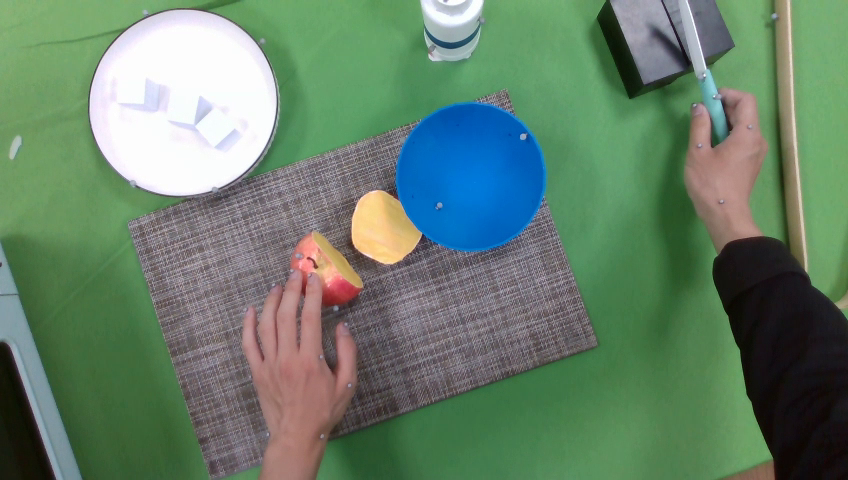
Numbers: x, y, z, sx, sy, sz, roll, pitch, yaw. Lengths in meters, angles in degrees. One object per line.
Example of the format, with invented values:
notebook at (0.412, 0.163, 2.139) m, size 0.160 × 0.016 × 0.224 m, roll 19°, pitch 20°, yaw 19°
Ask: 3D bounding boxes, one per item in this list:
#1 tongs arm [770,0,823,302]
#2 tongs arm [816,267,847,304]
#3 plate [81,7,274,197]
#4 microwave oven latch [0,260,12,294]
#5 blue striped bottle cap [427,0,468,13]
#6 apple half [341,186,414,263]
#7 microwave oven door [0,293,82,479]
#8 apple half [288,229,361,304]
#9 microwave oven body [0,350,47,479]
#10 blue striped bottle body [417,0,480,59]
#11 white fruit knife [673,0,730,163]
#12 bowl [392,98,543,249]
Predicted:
tongs arm at (0.399, -0.126, 0.657) m, size 0.028 × 0.028 × 0.387 m, roll -3°, pitch 88°, yaw -1°
tongs arm at (0.480, -0.118, 0.651) m, size 0.051 × 0.026 × 0.384 m, roll 10°, pitch 89°, yaw 2°
plate at (-0.266, -0.148, 0.668) m, size 0.208 × 0.039 × 0.207 m, roll 0°, pitch 88°, yaw 1°
microwave oven latch at (-0.474, 0.022, 0.648) m, size 0.030 × 0.029 × 0.079 m, roll -21°, pitch 88°, yaw 0°
blue striped bottle cap at (0.022, -0.240, 0.572) m, size 0.044 × 0.020 × 0.044 m, roll 0°, pitch 87°, yaw 0°
apple half at (-0.052, -0.016, 0.653) m, size 0.081 × 0.032 × 0.081 m, roll 0°, pitch 97°, yaw -3°
microwave oven door at (-0.400, 0.222, 0.537) m, size 0.039 × 0.244 × 0.355 m, roll -22°, pitch 87°, yaw 0°
apple half at (-0.110, 0.035, 0.634) m, size 0.053 × 0.075 × 0.080 m, roll -43°, pitch 80°, yaw 6°
microwave oven body at (-0.552, 0.235, 0.544) m, size 0.326 × 0.260 × 0.441 m, roll -21°, pitch 88°, yaw 0°
blue striped bottle body at (0.025, -0.237, 0.623) m, size 0.063 × 0.121 × 0.063 m, roll 0°, pitch 87°, yaw 2°
white fruit knife at (0.280, -0.169, 0.619) m, size 0.016 × 0.027 × 0.209 m, roll -28°, pitch 112°, yaw -1°
bowl at (0.044, -0.064, 0.633) m, size 0.151 × 0.077 × 0.151 m, roll 0°, pitch 88°, yaw 2°
